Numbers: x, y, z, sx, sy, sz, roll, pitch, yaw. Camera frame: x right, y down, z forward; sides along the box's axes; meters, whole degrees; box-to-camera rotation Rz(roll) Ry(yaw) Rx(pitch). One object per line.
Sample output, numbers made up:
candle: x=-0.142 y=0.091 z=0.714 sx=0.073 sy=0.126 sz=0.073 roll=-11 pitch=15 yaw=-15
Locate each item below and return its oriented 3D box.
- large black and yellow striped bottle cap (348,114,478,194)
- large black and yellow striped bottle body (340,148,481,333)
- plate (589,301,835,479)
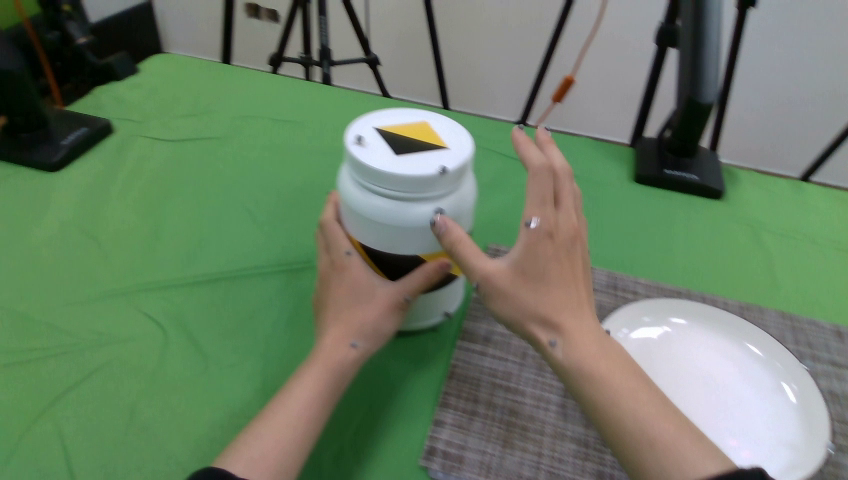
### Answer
large black and yellow striped bottle cap: x=-0.010 y=-0.080 z=0.538 sx=0.115 sy=0.019 sz=0.114 roll=5 pitch=39 yaw=-3
large black and yellow striped bottle body: x=-0.015 y=-0.014 z=0.592 sx=0.131 sy=0.185 sz=0.129 roll=3 pitch=40 yaw=-2
plate: x=0.251 y=0.141 z=0.547 sx=0.208 sy=0.039 sz=0.205 roll=4 pitch=40 yaw=-3
